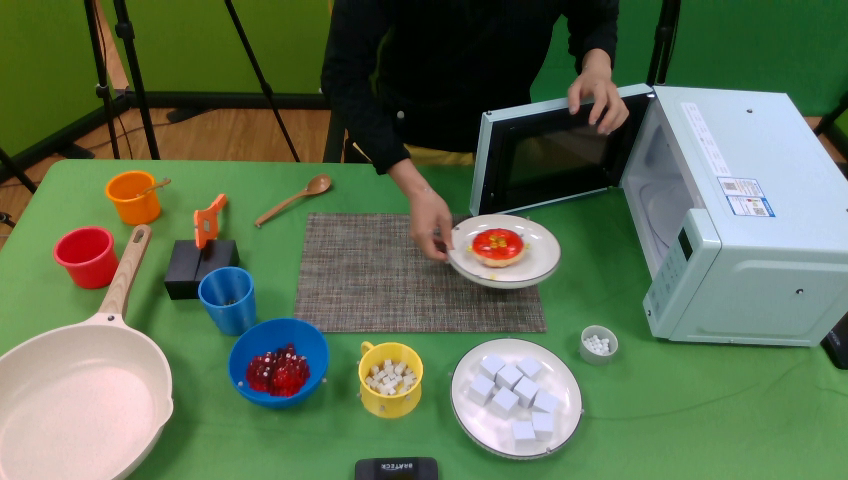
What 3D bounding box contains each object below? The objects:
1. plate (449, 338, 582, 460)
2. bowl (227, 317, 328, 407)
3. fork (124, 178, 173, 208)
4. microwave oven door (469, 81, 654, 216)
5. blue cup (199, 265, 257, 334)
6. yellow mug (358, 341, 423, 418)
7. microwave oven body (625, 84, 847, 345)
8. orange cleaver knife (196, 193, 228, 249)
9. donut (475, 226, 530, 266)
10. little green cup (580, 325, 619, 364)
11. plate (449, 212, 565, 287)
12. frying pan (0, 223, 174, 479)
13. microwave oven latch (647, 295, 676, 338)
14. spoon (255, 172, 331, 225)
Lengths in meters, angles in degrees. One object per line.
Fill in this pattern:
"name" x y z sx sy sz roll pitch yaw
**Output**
"plate" 0.141 0.251 0.955 0.208 0.039 0.206 2 46 -2
"bowl" -0.222 0.203 0.947 0.151 0.077 0.150 2 46 -2
"fork" -0.525 -0.090 1.154 0.207 0.019 0.028 -17 27 45
"microwave oven door" 0.270 -0.180 1.207 0.356 0.245 0.039 -14 49 -16
"blue cup" -0.320 0.106 1.015 0.093 0.101 0.092 2 48 -2
"yellow mug" -0.063 0.210 0.961 0.100 0.064 0.130 -29 54 -27
"microwave oven body" 0.568 -0.054 1.116 0.326 0.261 0.439 2 46 -1
"orange cleaver knife" -0.406 -0.041 1.163 0.012 0.077 0.210 0 18 -3
"donut" 0.141 0.009 1.091 0.099 0.048 0.098 -2 32 1
"little green cup" 0.296 0.180 1.032 0.061 0.039 0.061 1 45 -1
"plate" 0.149 0.020 1.094 0.209 0.038 0.208 0 36 0
"frying pan" -0.504 0.169 0.941 0.307 0.103 0.485 5 54 -1
"microwave oven latch" 0.413 0.133 1.060 0.030 0.029 0.078 4 46 1
"spoon" -0.272 -0.087 1.257 0.041 0.022 0.193 43 57 17
